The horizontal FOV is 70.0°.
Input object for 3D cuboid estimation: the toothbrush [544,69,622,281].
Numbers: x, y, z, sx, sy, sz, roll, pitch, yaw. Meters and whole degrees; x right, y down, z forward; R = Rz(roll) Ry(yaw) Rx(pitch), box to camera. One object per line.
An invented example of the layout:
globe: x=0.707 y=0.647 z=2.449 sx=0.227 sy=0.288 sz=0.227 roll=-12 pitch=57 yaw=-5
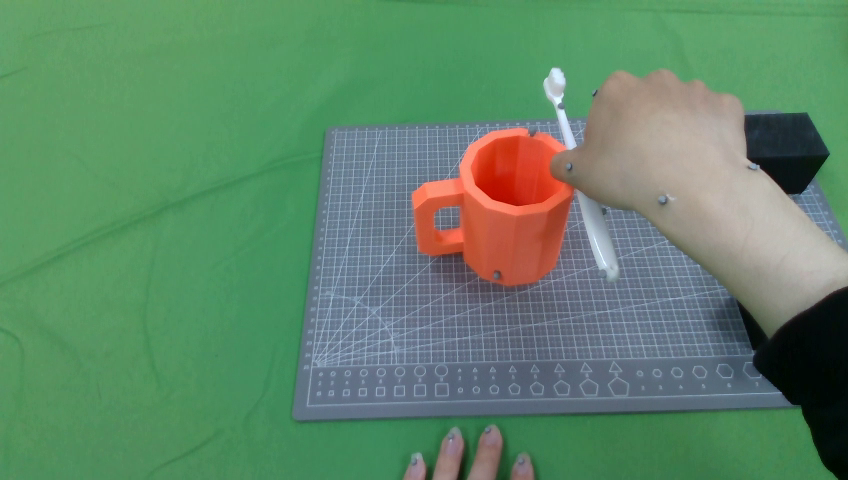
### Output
toothbrush: x=0.107 y=-0.052 z=0.414 sx=0.014 sy=0.017 sz=0.180 roll=2 pitch=56 yaw=-14

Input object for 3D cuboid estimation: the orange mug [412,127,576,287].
orange mug: x=0.054 y=-0.022 z=0.475 sx=0.126 sy=0.101 sz=0.082 roll=-6 pitch=55 yaw=-7
